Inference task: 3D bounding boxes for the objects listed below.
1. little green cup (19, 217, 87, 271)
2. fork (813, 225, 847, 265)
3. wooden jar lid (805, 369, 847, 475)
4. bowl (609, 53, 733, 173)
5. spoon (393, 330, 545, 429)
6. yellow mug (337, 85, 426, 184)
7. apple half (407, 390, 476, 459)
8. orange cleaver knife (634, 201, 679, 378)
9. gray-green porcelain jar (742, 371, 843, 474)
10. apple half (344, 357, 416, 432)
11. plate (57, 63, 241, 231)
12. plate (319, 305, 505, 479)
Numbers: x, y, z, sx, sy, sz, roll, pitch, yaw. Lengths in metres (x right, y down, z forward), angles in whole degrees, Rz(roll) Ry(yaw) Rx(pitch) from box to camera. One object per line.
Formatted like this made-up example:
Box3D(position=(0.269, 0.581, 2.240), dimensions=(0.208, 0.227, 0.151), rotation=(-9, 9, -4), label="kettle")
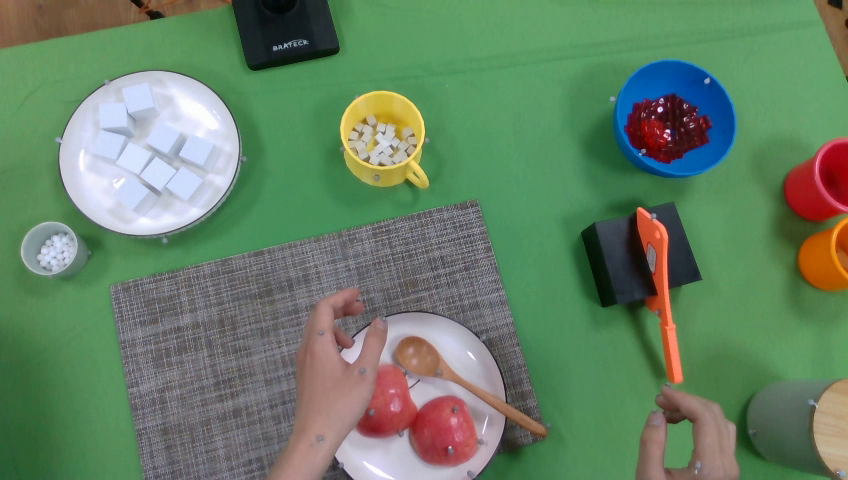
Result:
Box3D(position=(-0.421, 0.008, 0.693), dimensions=(0.061, 0.039, 0.061), rotation=(1, 79, -6), label="little green cup")
Box3D(position=(0.520, 0.046, 0.710), dimensions=(0.028, 0.019, 0.205), rotation=(4, 35, -6), label="fork")
Box3D(position=(0.440, 0.187, 0.624), dimensions=(0.108, 0.021, 0.108), rotation=(1, 81, -5), label="wooden jar lid")
Box3D(position=(0.298, -0.149, 0.767), dimensions=(0.151, 0.077, 0.150), rotation=(1, 79, -4), label="bowl")
Box3D(position=(0.050, 0.161, 0.687), dimensions=(0.193, 0.022, 0.041), rotation=(29, 67, 14), label="spoon")
Box3D(position=(-0.043, -0.118, 0.738), dimensions=(0.100, 0.064, 0.130), rotation=(-43, 86, -12), label="yellow mug")
Box3D(position=(0.020, 0.210, 0.682), dimensions=(0.081, 0.033, 0.081), rotation=(1, 74, -3), label="apple half")
Box3D(position=(0.275, 0.059, 0.721), dimensions=(0.012, 0.077, 0.212), rotation=(-13, 103, -3), label="orange cleaver knife")
Box3D(position=(0.437, 0.201, 0.684), dimensions=(0.106, 0.127, 0.105), rotation=(1, 78, -4), label="gray-green porcelain jar")
Box3D(position=(-0.051, 0.173, 0.674), dimensions=(0.075, 0.053, 0.080), rotation=(-18, 80, -5), label="apple half")
Box3D(position=(-0.323, -0.109, 0.727), dimensions=(0.208, 0.039, 0.206), rotation=(1, 79, -5), label="plate")
Box3D(position=(-0.014, 0.179, 0.692), dimensions=(0.209, 0.038, 0.208), rotation=(1, 79, -5), label="plate")
